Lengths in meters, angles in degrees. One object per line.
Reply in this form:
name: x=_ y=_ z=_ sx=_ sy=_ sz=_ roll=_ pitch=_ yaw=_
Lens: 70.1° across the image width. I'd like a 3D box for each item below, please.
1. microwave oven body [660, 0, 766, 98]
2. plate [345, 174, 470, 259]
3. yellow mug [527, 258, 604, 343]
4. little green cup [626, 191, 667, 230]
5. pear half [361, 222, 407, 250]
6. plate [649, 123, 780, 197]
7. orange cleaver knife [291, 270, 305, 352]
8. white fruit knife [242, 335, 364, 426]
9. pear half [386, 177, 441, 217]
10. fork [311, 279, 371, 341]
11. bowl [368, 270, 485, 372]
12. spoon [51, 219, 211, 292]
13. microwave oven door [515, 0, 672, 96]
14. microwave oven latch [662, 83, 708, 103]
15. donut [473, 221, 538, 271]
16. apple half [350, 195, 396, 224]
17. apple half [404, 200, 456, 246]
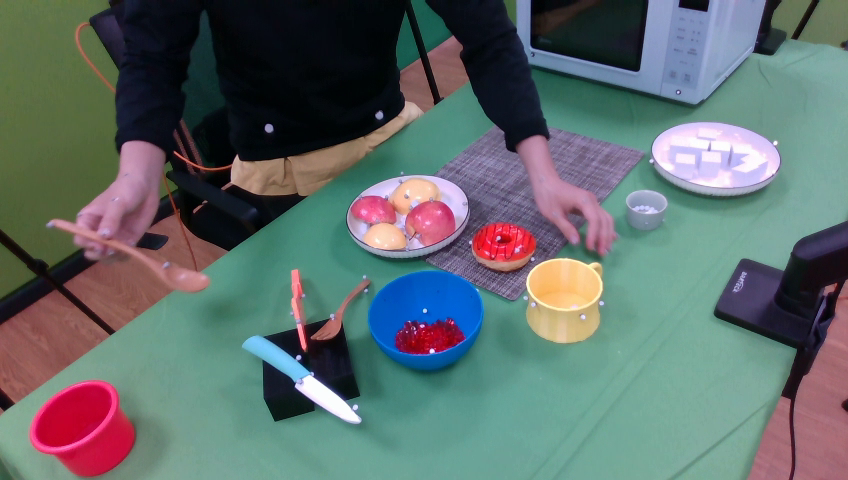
microwave oven body: x=0.472 y=-0.513 z=1.317 sx=0.438 sy=0.261 sz=0.327 roll=26 pitch=51 yaw=34
plate: x=-0.026 y=-0.037 z=1.004 sx=0.209 sy=0.038 sz=0.208 roll=-4 pitch=40 yaw=4
yellow mug: x=0.202 y=0.073 z=0.824 sx=0.131 sy=0.064 sz=0.099 roll=-32 pitch=46 yaw=-27
little green cup: x=0.352 y=-0.046 z=0.963 sx=0.061 sy=0.039 sz=0.061 roll=-4 pitch=40 yaw=4
pear half: x=-0.063 y=-0.012 z=0.959 sx=0.071 sy=0.031 sz=0.087 roll=2 pitch=25 yaw=-24
plate: x=0.497 y=-0.134 z=1.046 sx=0.207 sy=0.039 sz=0.206 roll=-4 pitch=40 yaw=4
orange cleaver knife: x=-0.175 y=0.094 z=0.844 sx=0.012 sy=0.077 sz=0.210 roll=-11 pitch=14 yaw=-10
white fruit knife: x=-0.148 y=0.167 z=0.730 sx=0.206 sy=0.016 sz=0.027 roll=26 pitch=79 yaw=31
pear half: x=-0.030 y=-0.079 z=1.033 sx=0.109 sy=0.056 sz=0.076 roll=-1 pitch=36 yaw=15
fork: x=-0.108 y=0.092 z=0.832 sx=0.028 sy=0.019 sz=0.207 roll=-7 pitch=19 yaw=15
bowl: x=0.007 y=0.118 z=0.791 sx=0.151 sy=0.077 sz=0.150 roll=-5 pitch=40 yaw=4
spoon: x=-0.359 y=0.018 z=0.749 sx=0.195 sy=0.021 sz=0.041 roll=30 pitch=28 yaw=-19
microwave oven door: x=0.344 y=-0.455 z=1.259 sx=0.353 sy=0.245 sz=0.039 roll=26 pitch=51 yaw=33
microwave oven latch: x=0.518 y=-0.296 z=1.204 sx=0.078 sy=0.029 sz=0.030 roll=28 pitch=52 yaw=35
donut: x=0.124 y=0.008 z=0.923 sx=0.099 sy=0.048 sz=0.098 roll=-4 pitch=38 yaw=3
apple half: x=-0.080 y=-0.056 z=1.008 sx=0.081 sy=0.033 sz=0.081 roll=11 pitch=24 yaw=-4
apple half: x=0.009 y=-0.035 z=0.969 sx=0.075 sy=0.053 sz=0.080 roll=-27 pitch=41 yaw=-22
